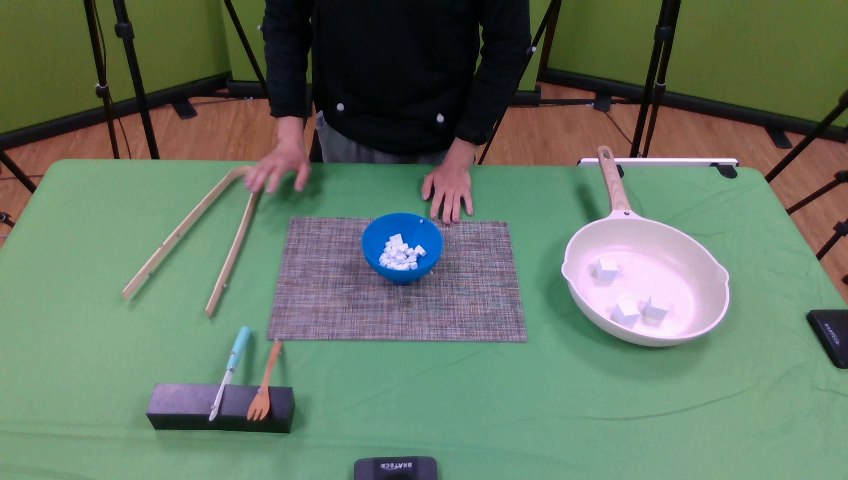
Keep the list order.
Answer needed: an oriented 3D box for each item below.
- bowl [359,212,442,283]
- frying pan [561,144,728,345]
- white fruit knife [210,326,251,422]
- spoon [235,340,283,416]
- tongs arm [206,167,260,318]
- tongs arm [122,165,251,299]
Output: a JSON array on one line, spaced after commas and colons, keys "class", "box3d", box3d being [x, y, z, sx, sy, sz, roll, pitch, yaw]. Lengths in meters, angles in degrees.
[{"class": "bowl", "box3d": [-0.044, 0.026, 1.125, 0.151, 0.077, 0.150, 2, 46, -2]}, {"class": "frying pan", "box3d": [0.397, -0.008, 1.179, 0.307, 0.103, 0.485, 2, 55, -4]}, {"class": "white fruit knife", "box3d": [-0.300, 0.201, 0.941, 0.016, 0.027, 0.206, -2, 32, 1]}, {"class": "spoon", "box3d": [-0.244, 0.207, 0.932, 0.042, 0.022, 0.193, 27, 25, -8]}, {"class": "tongs arm", "box3d": [-0.367, -0.010, 1.175, 0.028, 0.028, 0.385, 2, 46, 1]}, {"class": "tongs arm", "box3d": [-0.447, -0.027, 1.179, 0.051, 0.026, 0.383, 14, 46, 8]}]
